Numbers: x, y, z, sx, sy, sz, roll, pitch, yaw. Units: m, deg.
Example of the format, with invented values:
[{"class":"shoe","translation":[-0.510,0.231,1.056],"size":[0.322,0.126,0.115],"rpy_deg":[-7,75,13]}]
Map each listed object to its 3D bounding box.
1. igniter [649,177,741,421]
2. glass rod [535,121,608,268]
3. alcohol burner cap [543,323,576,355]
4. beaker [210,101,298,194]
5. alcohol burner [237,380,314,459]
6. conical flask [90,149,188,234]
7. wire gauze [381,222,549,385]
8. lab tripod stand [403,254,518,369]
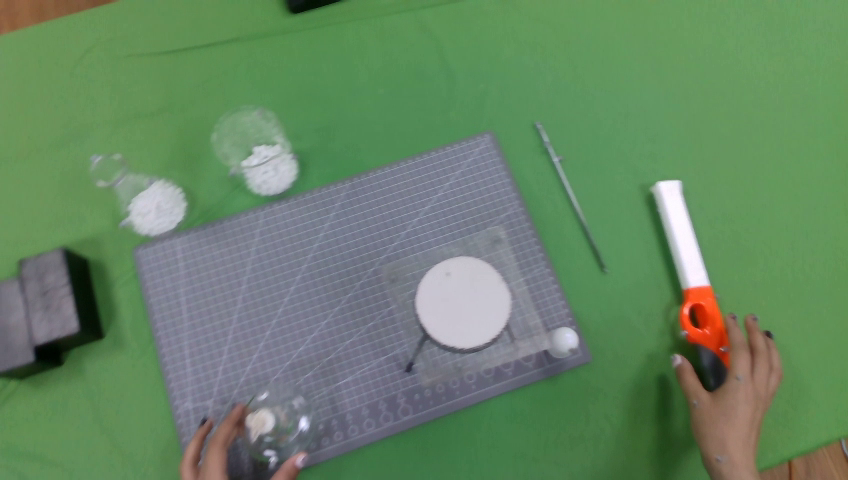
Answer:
[{"class":"igniter","translation":[0.303,0.060,0.680],"size":[0.057,0.025,0.275],"rpy_deg":[-5,74,-15]},{"class":"glass rod","translation":[0.175,-0.058,0.721],"size":[0.008,0.008,0.198],"rpy_deg":[-20,75,-6]},{"class":"alcohol burner cap","translation":[0.149,0.105,0.656],"size":[0.034,0.048,0.033],"rpy_deg":[0,74,1]},{"class":"beaker","translation":[-0.184,-0.099,0.687],"size":[0.084,0.101,0.073],"rpy_deg":[16,75,4]},{"class":"alcohol burner","translation":[-0.150,0.177,0.599],"size":[0.078,0.119,0.077],"rpy_deg":[0,76,-1]},{"class":"conical flask","translation":[-0.315,-0.057,0.662],"size":[0.075,0.122,0.075],"rpy_deg":[0,74,0]},{"class":"wire gauze","translation":[0.036,0.056,0.552],"size":[0.125,0.011,0.121],"rpy_deg":[-18,76,-4]},{"class":"lab tripod stand","translation":[0.032,0.077,0.617],"size":[0.148,0.132,0.147],"rpy_deg":[0,76,0]}]
